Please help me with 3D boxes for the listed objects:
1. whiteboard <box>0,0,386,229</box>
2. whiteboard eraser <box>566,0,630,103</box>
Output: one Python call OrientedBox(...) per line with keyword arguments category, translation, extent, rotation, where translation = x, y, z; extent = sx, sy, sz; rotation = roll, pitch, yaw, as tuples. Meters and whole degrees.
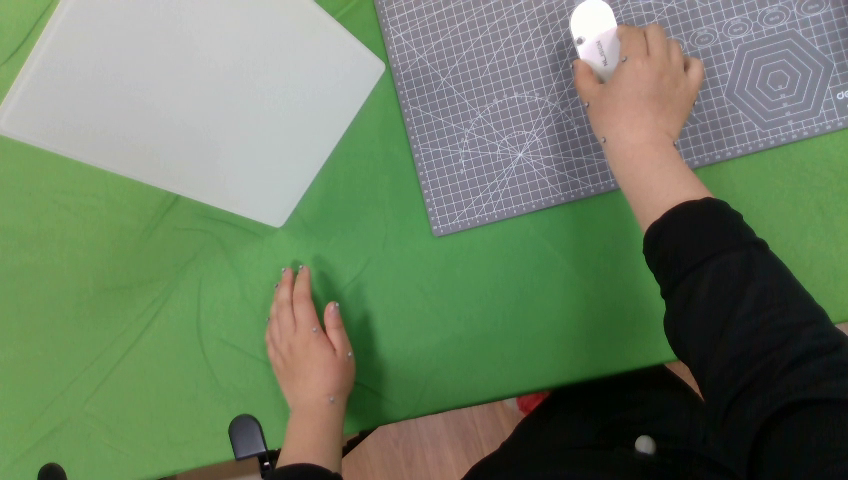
OrientedBox(category="whiteboard", translation=(-0.218, -0.169, 0.572), extent=(0.142, 0.308, 0.217), rotation=(39, 99, 30))
OrientedBox(category="whiteboard eraser", translation=(0.168, -0.182, 0.583), extent=(0.041, 0.018, 0.102), rotation=(-21, 107, 10))
